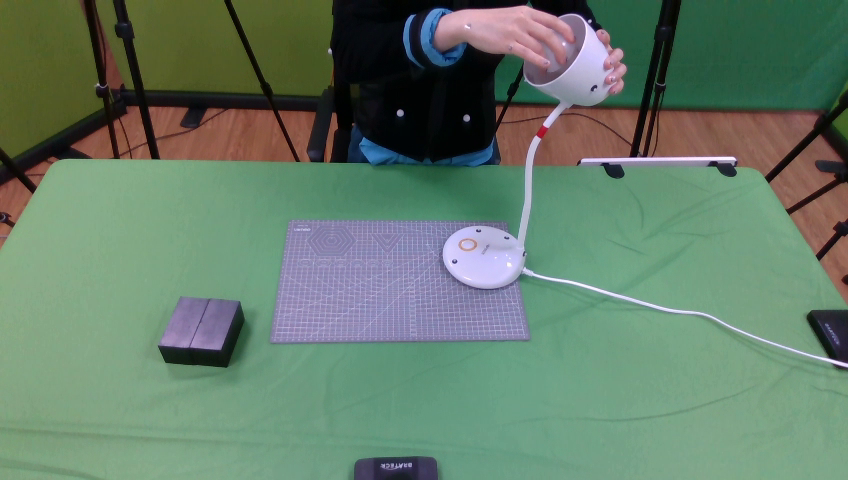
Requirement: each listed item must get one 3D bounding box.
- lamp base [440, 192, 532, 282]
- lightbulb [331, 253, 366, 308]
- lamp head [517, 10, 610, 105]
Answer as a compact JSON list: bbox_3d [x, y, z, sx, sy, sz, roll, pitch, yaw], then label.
[{"bbox_3d":[0.127,-0.032,1.123,0.179,0.181,0.159,11,46,2],"label":"lamp base"},{"bbox_3d":[-0.131,0.074,1.094,0.059,0.060,0.107,-15,64,-18],"label":"lightbulb"},{"bbox_3d":[0.210,-0.249,0.883,0.123,0.112,0.111,34,33,-36],"label":"lamp head"}]
